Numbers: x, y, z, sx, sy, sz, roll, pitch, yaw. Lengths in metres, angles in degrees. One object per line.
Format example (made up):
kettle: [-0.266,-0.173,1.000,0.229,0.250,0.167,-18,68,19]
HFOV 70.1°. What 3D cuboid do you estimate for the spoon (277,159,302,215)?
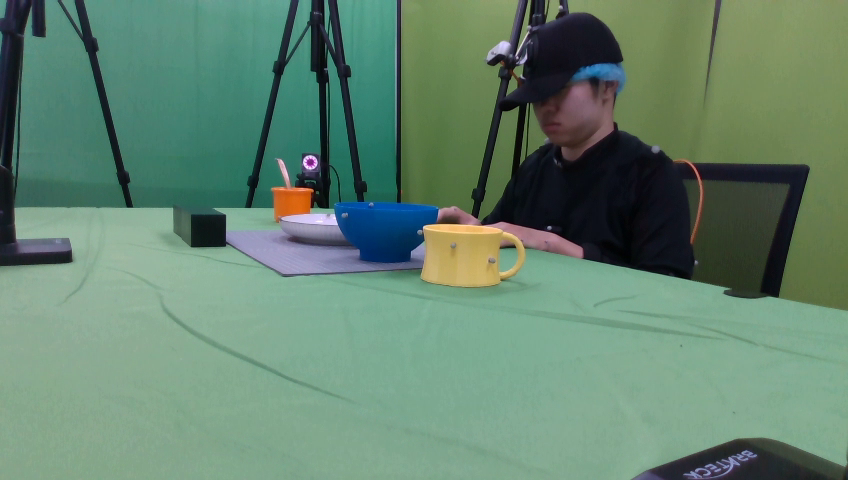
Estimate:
spoon: [-0.308,-0.117,1.368,0.042,0.193,0.021,3,-39,-32]

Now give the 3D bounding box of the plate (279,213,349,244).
plate: [-0.147,-0.020,1.060,0.209,0.038,0.209,2,7,0]

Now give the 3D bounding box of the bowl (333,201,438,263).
bowl: [-0.057,-0.011,0.866,0.151,0.077,0.151,3,8,0]

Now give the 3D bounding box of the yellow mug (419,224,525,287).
yellow mug: [0.060,0.018,0.746,0.131,0.064,0.100,3,7,-7]
